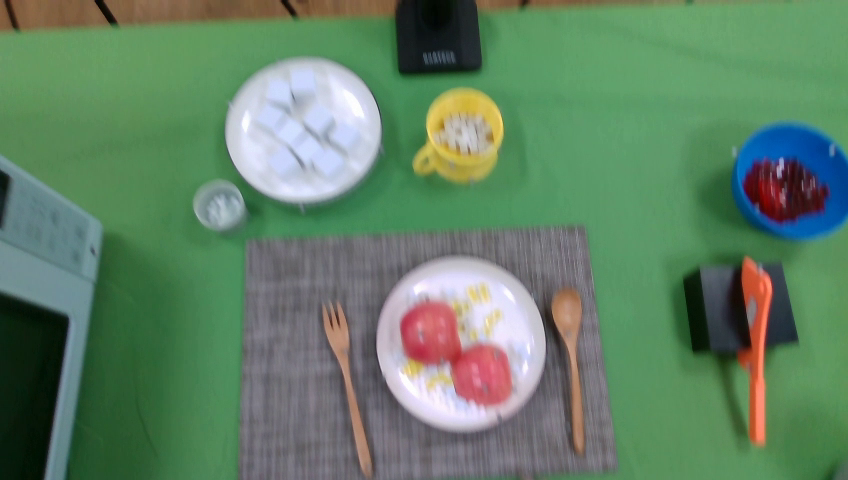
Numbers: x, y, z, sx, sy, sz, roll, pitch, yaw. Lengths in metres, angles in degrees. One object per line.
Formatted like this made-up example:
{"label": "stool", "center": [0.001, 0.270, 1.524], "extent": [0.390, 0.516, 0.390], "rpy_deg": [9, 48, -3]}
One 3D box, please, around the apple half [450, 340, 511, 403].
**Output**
{"label": "apple half", "center": [0.069, 0.157, 0.728], "extent": [0.081, 0.033, 0.081], "rpy_deg": [0, 71, 1]}

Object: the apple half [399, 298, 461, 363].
{"label": "apple half", "center": [0.006, 0.107, 0.733], "extent": [0.074, 0.053, 0.080], "rpy_deg": [-5, 74, 1]}

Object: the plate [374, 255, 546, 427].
{"label": "plate", "center": [0.043, 0.122, 0.745], "extent": [0.209, 0.038, 0.208], "rpy_deg": [0, 74, -1]}

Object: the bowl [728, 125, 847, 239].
{"label": "bowl", "center": [0.460, -0.064, 0.787], "extent": [0.151, 0.077, 0.150], "rpy_deg": [0, 74, 0]}

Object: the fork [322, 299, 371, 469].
{"label": "fork", "center": [-0.093, 0.173, 0.738], "extent": [0.028, 0.019, 0.206], "rpy_deg": [-9, 72, -21]}

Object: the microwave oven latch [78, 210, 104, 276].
{"label": "microwave oven latch", "center": [-0.424, 0.004, 0.759], "extent": [0.030, 0.029, 0.078], "rpy_deg": [2, 74, 0]}

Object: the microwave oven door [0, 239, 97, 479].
{"label": "microwave oven door", "center": [-0.429, 0.184, 0.601], "extent": [0.039, 0.245, 0.353], "rpy_deg": [0, 73, 0]}

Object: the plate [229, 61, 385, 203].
{"label": "plate", "center": [-0.156, -0.144, 0.825], "extent": [0.208, 0.039, 0.206], "rpy_deg": [0, 73, 0]}

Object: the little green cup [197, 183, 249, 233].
{"label": "little green cup", "center": [-0.260, -0.039, 0.792], "extent": [0.061, 0.039, 0.061], "rpy_deg": [0, 75, 0]}

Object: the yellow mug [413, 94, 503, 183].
{"label": "yellow mug", "center": [0.040, -0.127, 0.808], "extent": [0.131, 0.064, 0.099], "rpy_deg": [-33, 76, -9]}

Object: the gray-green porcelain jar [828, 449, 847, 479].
{"label": "gray-green porcelain jar", "center": [0.524, 0.278, 0.661], "extent": [0.106, 0.127, 0.105], "rpy_deg": [0, 73, 0]}

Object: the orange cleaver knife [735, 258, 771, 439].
{"label": "orange cleaver knife", "center": [0.391, 0.129, 0.727], "extent": [0.012, 0.077, 0.211], "rpy_deg": [-2, 97, 3]}

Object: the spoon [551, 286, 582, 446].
{"label": "spoon", "center": [0.181, 0.153, 0.745], "extent": [0.042, 0.021, 0.192], "rpy_deg": [5, 72, -20]}

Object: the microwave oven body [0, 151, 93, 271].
{"label": "microwave oven body", "center": [-0.575, 0.143, 0.616], "extent": [0.326, 0.261, 0.439], "rpy_deg": [1, 74, -1]}
